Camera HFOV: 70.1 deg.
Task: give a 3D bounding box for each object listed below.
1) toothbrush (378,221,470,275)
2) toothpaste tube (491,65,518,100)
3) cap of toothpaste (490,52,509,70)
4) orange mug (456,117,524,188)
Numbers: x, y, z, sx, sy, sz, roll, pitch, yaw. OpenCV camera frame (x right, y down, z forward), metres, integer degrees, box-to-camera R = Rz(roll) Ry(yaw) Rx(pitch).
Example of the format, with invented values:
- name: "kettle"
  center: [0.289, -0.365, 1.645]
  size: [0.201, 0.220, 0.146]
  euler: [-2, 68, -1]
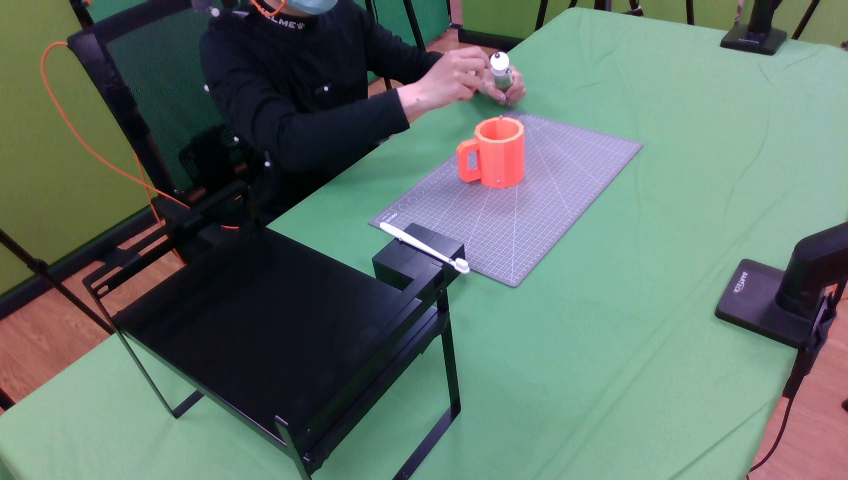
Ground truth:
- name: "toothbrush"
  center: [-0.004, 0.007, 0.894]
  size: [0.180, 0.017, 0.014]
  euler: [27, 55, 34]
- name: "toothpaste tube"
  center: [0.159, -0.321, 1.216]
  size: [0.055, 0.166, 0.034]
  euler: [3, 80, 11]
- name: "cap of toothpaste"
  center: [0.142, -0.336, 1.138]
  size: [0.037, 0.011, 0.037]
  euler: [0, 84, -1]
- name: "orange mug"
  center: [0.117, -0.152, 1.071]
  size: [0.127, 0.101, 0.083]
  euler: [-14, 41, -14]
